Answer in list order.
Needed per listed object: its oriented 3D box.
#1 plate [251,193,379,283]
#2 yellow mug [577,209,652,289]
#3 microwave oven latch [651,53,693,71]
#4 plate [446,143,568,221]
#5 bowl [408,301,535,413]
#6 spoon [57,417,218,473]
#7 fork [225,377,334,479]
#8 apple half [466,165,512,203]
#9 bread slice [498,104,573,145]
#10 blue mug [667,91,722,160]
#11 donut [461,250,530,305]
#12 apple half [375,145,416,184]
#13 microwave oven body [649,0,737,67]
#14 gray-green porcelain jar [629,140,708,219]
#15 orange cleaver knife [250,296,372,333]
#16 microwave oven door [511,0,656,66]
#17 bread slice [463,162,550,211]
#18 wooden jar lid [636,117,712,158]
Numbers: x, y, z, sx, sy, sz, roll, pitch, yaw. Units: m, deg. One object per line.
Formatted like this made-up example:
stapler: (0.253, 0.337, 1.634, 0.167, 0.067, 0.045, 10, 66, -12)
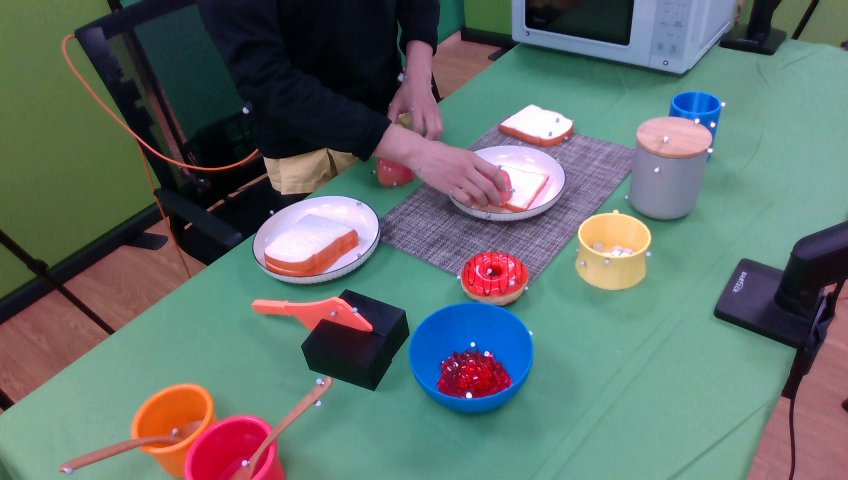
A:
plate: (-0.174, -0.001, 0.984, 0.209, 0.038, 0.208, -4, 40, 4)
yellow mug: (0.279, 0.004, 0.893, 0.099, 0.064, 0.130, 5, 41, 15)
microwave oven latch: (0.532, -0.386, 1.301, 0.078, 0.029, 0.030, 27, 52, 34)
plate: (0.142, -0.096, 1.045, 0.207, 0.039, 0.206, -4, 41, 4)
bowl: (0.060, 0.156, 0.739, 0.151, 0.077, 0.150, -4, 40, 4)
spoon: (-0.304, 0.221, 0.661, 0.041, 0.195, 0.021, 19, 92, 27)
fork: (-0.163, 0.216, 0.646, 0.207, 0.019, 0.028, -49, 42, 16)
apple half: (0.106, -0.097, 0.981, 0.081, 0.033, 0.081, -3, 55, 4)
bread slice: (0.231, -0.231, 1.205, 0.105, 0.019, 0.130, -36, 47, -29)
blue mug: (0.474, -0.207, 1.079, 0.082, 0.106, 0.116, 4, 42, 13)
donut: (0.103, 0.053, 0.872, 0.099, 0.048, 0.098, -4, 40, 4)
apple half: (-0.054, -0.149, 1.128, 0.074, 0.053, 0.080, 0, 42, 5)
microwave oven body: (0.475, -0.602, 1.411, 0.438, 0.261, 0.327, 23, 50, 32)
gray-green porcelain jar: (0.383, -0.105, 0.958, 0.106, 0.127, 0.105, -4, 41, 4)
orange cleaver knife: (-0.158, 0.103, 0.828, 0.210, 0.078, 0.012, -4, 43, 39)
microwave oven door: (0.351, -0.539, 1.349, 0.353, 0.245, 0.039, 24, 50, 31)
bread slice: (0.136, -0.095, 1.044, 0.133, 0.018, 0.107, 15, 44, 23)
wooden jar lid: (0.377, -0.151, 0.917, 0.108, 0.021, 0.108, -2, 42, 3)
